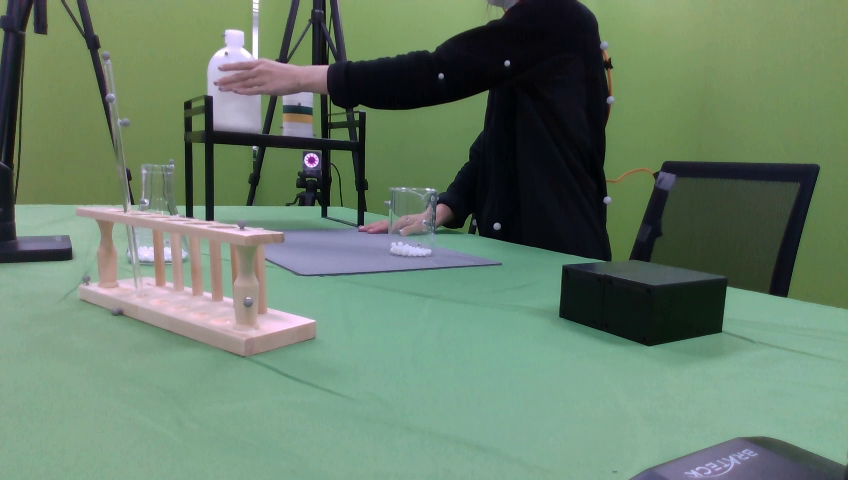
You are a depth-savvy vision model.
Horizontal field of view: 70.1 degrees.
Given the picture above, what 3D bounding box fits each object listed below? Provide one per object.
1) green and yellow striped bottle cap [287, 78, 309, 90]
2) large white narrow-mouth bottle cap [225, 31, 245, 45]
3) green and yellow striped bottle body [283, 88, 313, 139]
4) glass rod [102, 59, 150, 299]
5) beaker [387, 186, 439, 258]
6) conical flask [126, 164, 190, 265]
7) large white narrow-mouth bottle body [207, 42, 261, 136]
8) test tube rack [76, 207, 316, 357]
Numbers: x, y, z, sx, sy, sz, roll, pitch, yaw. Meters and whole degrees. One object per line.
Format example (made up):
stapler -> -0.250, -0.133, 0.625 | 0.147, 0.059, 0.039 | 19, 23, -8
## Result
green and yellow striped bottle cap -> -0.265, -0.326, 1.268 | 0.045, 0.020, 0.045 | 4, 6, 0
large white narrow-mouth bottle cap -> -0.364, -0.388, 1.165 | 0.038, 0.024, 0.037 | 4, 9, 0
green and yellow striped bottle body -> -0.266, -0.275, 1.275 | 0.063, 0.119, 0.063 | 3, 7, 0
glass rod -> -0.243, -0.045, 0.496 | 0.008, 0.199, 0.008 | -4, 13, 1
beaker -> -0.015, -0.027, 0.885 | 0.074, 0.100, 0.083 | -1, 8, -20
conical flask -> -0.332, -0.033, 0.756 | 0.075, 0.122, 0.075 | 2, 7, 0
large white narrow-mouth bottle body -> -0.369, -0.303, 1.180 | 0.102, 0.194, 0.102 | 4, 9, 0
test tube rack -> -0.196, 0.023, 0.500 | 0.241, 0.085, 0.067 | 8, 9, 36
